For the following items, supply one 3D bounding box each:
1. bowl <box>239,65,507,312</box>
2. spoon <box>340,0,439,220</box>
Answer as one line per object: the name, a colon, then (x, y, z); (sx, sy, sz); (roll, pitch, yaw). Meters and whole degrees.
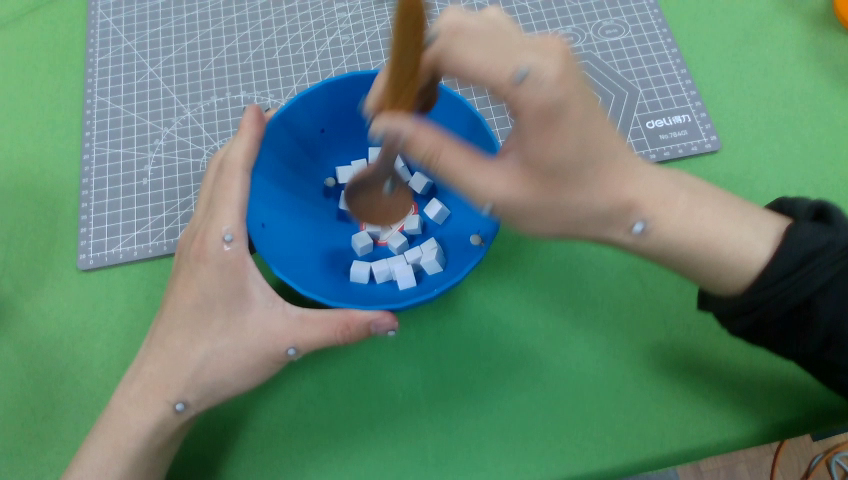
bowl: (-0.027, -0.022, 0.375); (0.151, 0.077, 0.150); (0, 71, 1)
spoon: (-0.015, -0.053, 0.283); (0.042, 0.194, 0.021); (13, 70, -6)
